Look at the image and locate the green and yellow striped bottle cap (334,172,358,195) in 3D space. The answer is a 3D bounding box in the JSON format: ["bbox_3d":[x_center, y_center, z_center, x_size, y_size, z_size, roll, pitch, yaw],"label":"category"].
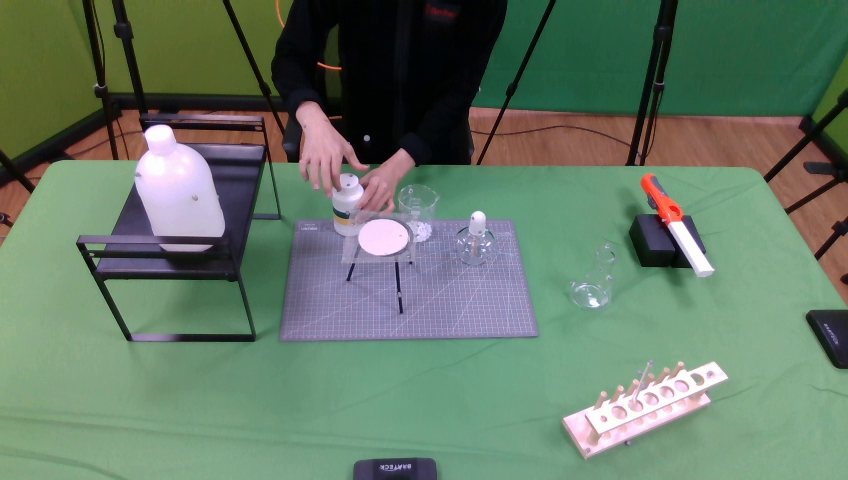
[{"bbox_3d":[-0.147,-0.107,1.143,0.045,0.020,0.045,2,46,-2],"label":"green and yellow striped bottle cap"}]

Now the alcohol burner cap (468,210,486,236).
[{"bbox_3d":[0.100,-0.034,1.119,0.034,0.048,0.033,0,53,0],"label":"alcohol burner cap"}]

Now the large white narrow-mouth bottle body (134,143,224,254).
[{"bbox_3d":[-0.358,-0.075,0.875,0.102,0.195,0.101,1,48,-1],"label":"large white narrow-mouth bottle body"}]

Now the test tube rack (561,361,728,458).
[{"bbox_3d":[0.341,0.248,0.940,0.243,0.085,0.066,-15,49,-18],"label":"test tube rack"}]

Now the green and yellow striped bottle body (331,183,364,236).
[{"bbox_3d":[-0.149,-0.069,1.181,0.063,0.120,0.063,2,45,-2],"label":"green and yellow striped bottle body"}]

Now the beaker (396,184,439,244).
[{"bbox_3d":[-0.014,-0.049,1.186,0.084,0.101,0.073,-8,48,-13],"label":"beaker"}]

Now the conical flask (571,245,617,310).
[{"bbox_3d":[0.313,0.064,1.089,0.075,0.122,0.075,2,46,-2],"label":"conical flask"}]

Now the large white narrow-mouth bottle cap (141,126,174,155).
[{"bbox_3d":[-0.356,-0.133,0.810,0.038,0.024,0.037,2,48,-1],"label":"large white narrow-mouth bottle cap"}]

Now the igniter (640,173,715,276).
[{"bbox_3d":[0.495,-0.039,1.204,0.057,0.025,0.274,-2,47,-12],"label":"igniter"}]

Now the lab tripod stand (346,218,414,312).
[{"bbox_3d":[-0.070,0.037,1.075,0.148,0.132,0.147,1,47,-1],"label":"lab tripod stand"}]

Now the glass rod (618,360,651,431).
[{"bbox_3d":[0.298,0.227,0.865,0.008,0.201,0.008,-1,48,2],"label":"glass rod"}]

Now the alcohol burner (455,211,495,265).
[{"bbox_3d":[0.097,-0.010,1.147,0.078,0.120,0.077,1,47,-1],"label":"alcohol burner"}]

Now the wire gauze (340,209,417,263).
[{"bbox_3d":[-0.074,-0.006,1.023,0.121,0.011,0.124,3,46,0],"label":"wire gauze"}]
